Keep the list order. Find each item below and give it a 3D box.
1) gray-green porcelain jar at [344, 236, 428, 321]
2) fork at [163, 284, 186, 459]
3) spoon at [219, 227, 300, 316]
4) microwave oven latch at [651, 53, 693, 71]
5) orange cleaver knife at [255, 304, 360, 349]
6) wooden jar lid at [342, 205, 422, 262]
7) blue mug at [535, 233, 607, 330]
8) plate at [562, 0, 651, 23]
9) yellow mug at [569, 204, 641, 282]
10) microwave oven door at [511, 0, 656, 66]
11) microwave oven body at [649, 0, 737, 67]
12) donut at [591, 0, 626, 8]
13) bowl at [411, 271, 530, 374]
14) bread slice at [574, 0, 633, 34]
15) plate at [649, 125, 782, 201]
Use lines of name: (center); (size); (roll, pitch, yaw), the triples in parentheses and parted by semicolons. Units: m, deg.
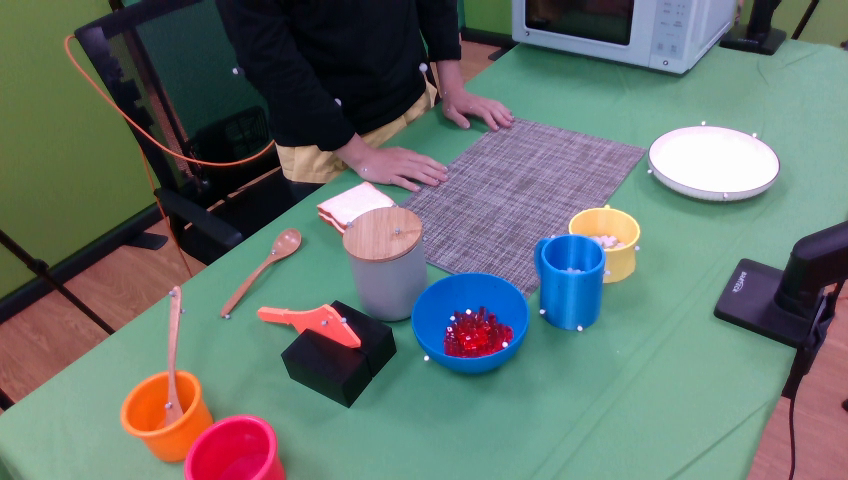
gray-green porcelain jar: (-0.049, 0.042, 0.849); (0.106, 0.127, 0.105); (-4, 41, 4)
fork: (-0.302, 0.157, 0.733); (0.028, 0.019, 0.207); (-4, 84, 16)
spoon: (-0.261, 0.046, 0.954); (0.041, 0.021, 0.194); (26, 48, 11)
microwave oven latch: (0.532, -0.386, 1.301); (0.078, 0.029, 0.030); (27, 52, 34)
orange cleaver knife: (-0.161, 0.115, 0.813); (0.210, 0.077, 0.012); (-4, 32, 47)
wooden jar lid: (-0.055, -0.006, 0.808); (0.108, 0.021, 0.108); (-6, 41, 6)
blue mug: (0.191, 0.048, 0.824); (0.082, 0.106, 0.115); (-26, 44, -21)
plate: (0.439, -0.572, 1.456); (0.209, 0.038, 0.208); (-6, 44, 6)
yellow mug: (0.268, -0.005, 0.904); (0.099, 0.064, 0.130); (7, 42, 15)
microwave oven door: (0.351, -0.539, 1.349); (0.353, 0.245, 0.039); (24, 50, 31)
microwave oven body: (0.475, -0.602, 1.411); (0.438, 0.261, 0.327); (23, 50, 32)
donut: (0.437, -0.588, 1.433); (0.099, 0.048, 0.098); (-2, 53, 4)
bowl: (0.061, 0.120, 0.780); (0.151, 0.077, 0.150); (-4, 40, 4)
bread slice: (0.431, -0.562, 1.476); (0.105, 0.019, 0.131); (-29, 68, -21)
plate: (0.493, -0.127, 1.036); (0.207, 0.039, 0.206); (-4, 41, 4)
